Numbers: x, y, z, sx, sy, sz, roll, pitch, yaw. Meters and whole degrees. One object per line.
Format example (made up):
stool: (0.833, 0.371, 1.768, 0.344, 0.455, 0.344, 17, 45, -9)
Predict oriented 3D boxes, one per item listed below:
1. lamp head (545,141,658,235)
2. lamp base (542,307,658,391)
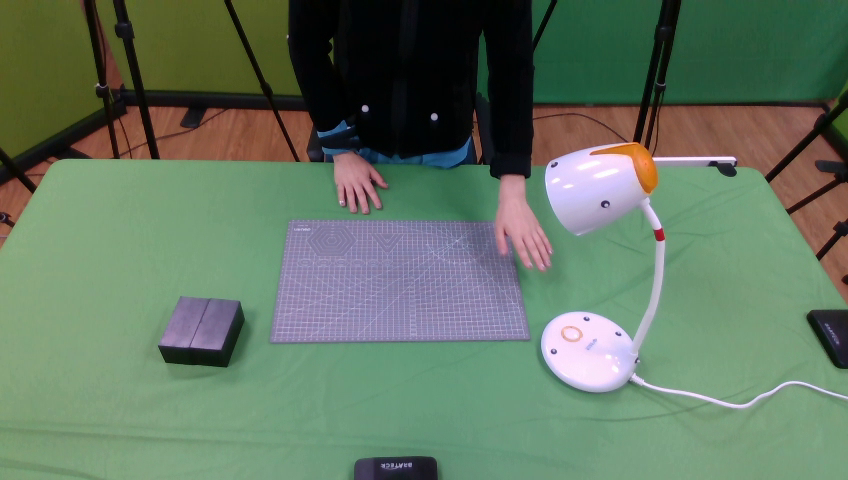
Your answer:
lamp head: (0.237, -0.072, 0.783, 0.123, 0.113, 0.112, -16, 33, 37)
lamp base: (0.296, 0.138, 0.975, 0.178, 0.181, 0.160, 28, 51, 18)
